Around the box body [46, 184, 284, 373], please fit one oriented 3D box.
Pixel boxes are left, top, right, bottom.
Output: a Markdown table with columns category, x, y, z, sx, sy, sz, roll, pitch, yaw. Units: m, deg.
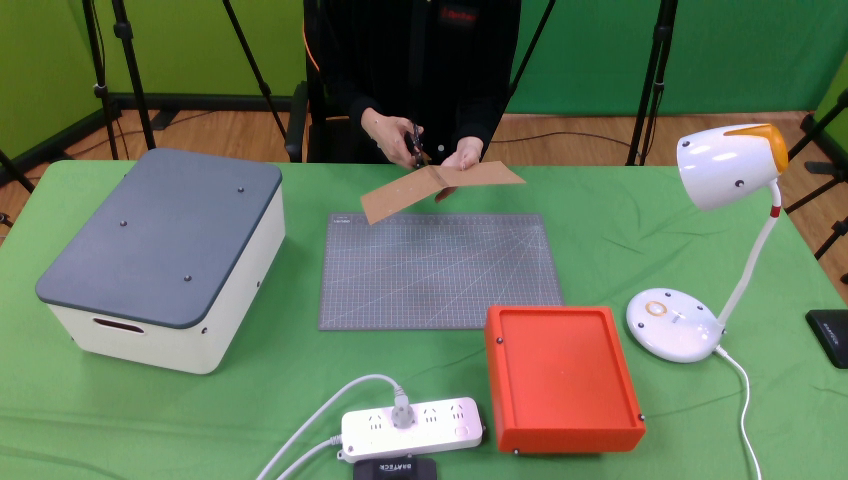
| category | x | y | z | sx | sy | sz | roll | pitch | yaw |
| --- | --- | --- | --- | --- | --- | --- | --- | --- | --- |
| box body | -0.414 | 0.029 | 1.039 | 0.254 | 0.161 | 0.362 | 10 | 46 | 5 |

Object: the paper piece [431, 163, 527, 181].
| category | x | y | z | sx | sy | sz | roll | pitch | yaw |
| --- | --- | --- | --- | --- | --- | --- | --- | --- | --- |
| paper piece | 0.086 | -0.114 | 1.017 | 0.136 | 0.008 | 0.137 | 0 | 18 | -12 |

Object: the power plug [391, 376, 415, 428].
| category | x | y | z | sx | sy | sz | roll | pitch | yaw |
| --- | --- | --- | --- | --- | --- | --- | --- | --- | --- |
| power plug | -0.030 | 0.249 | 0.917 | 0.035 | 0.053 | 0.072 | 3 | 46 | 0 |

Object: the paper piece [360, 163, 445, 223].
| category | x | y | z | sx | sy | sz | roll | pitch | yaw |
| --- | --- | --- | --- | --- | --- | --- | --- | --- | --- |
| paper piece | -0.039 | -0.082 | 1.000 | 0.135 | 0.004 | 0.135 | -25 | 26 | 0 |

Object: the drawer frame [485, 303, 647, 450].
| category | x | y | z | sx | sy | sz | roll | pitch | yaw |
| --- | --- | --- | --- | --- | --- | --- | --- | --- | --- |
| drawer frame | 0.204 | 0.202 | 0.917 | 0.202 | 0.083 | 0.212 | 1 | 47 | -4 |

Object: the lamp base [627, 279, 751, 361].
| category | x | y | z | sx | sy | sz | roll | pitch | yaw |
| --- | --- | --- | --- | --- | --- | --- | --- | --- | --- |
| lamp base | 0.460 | 0.100 | 1.027 | 0.178 | 0.181 | 0.160 | 27 | 51 | 17 |

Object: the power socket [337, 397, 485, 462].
| category | x | y | z | sx | sy | sz | roll | pitch | yaw |
| --- | --- | --- | --- | --- | --- | --- | --- | --- | --- |
| power socket | -0.018 | 0.285 | 0.915 | 0.227 | 0.033 | 0.071 | -4 | 46 | -8 |

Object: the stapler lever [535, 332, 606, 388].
| category | x | y | z | sx | sy | sz | roll | pitch | yaw |
| --- | --- | --- | --- | --- | --- | --- | --- | --- | --- |
| stapler lever | 0.225 | 0.181 | 0.928 | 0.118 | 0.040 | 0.027 | 27 | 34 | 15 |

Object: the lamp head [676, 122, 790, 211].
| category | x | y | z | sx | sy | sz | roll | pitch | yaw |
| --- | --- | --- | --- | --- | --- | --- | --- | --- | --- |
| lamp head | 0.423 | -0.104 | 0.819 | 0.122 | 0.113 | 0.112 | -13 | 33 | 40 |

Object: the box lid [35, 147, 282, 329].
| category | x | y | z | sx | sy | sz | roll | pitch | yaw |
| --- | --- | --- | --- | --- | --- | --- | --- | --- | --- |
| box lid | -0.411 | -0.023 | 0.987 | 0.263 | 0.015 | 0.369 | 10 | 47 | 5 |

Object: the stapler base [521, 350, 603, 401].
| category | x | y | z | sx | sy | sz | roll | pitch | yaw |
| --- | --- | --- | --- | --- | --- | --- | --- | --- | --- |
| stapler base | 0.217 | 0.203 | 0.942 | 0.130 | 0.024 | 0.041 | 26 | 34 | 16 |

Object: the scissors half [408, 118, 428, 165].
| category | x | y | z | sx | sy | sz | roll | pitch | yaw |
| --- | --- | --- | --- | --- | --- | --- | --- | --- | --- |
| scissors half | -0.008 | -0.173 | 1.110 | 0.013 | 0.040 | 0.174 | -11 | 46 | -8 |

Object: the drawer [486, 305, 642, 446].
| category | x | y | z | sx | sy | sz | roll | pitch | yaw |
| --- | --- | --- | --- | --- | --- | --- | --- | --- | --- |
| drawer | 0.202 | 0.200 | 0.919 | 0.195 | 0.073 | 0.210 | 2 | 47 | -4 |

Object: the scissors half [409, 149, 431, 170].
| category | x | y | z | sx | sy | sz | roll | pitch | yaw |
| --- | --- | --- | --- | --- | --- | --- | --- | --- | --- |
| scissors half | -0.007 | -0.151 | 1.121 | 0.013 | 0.040 | 0.175 | -7 | 7 | -11 |
